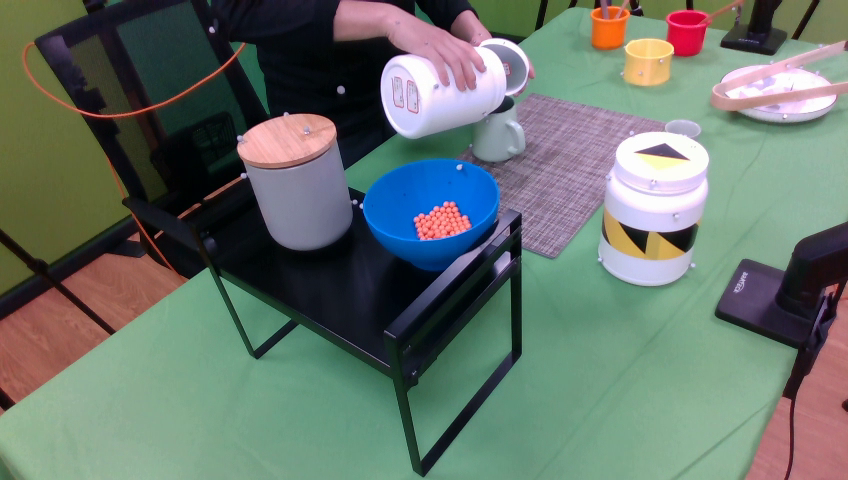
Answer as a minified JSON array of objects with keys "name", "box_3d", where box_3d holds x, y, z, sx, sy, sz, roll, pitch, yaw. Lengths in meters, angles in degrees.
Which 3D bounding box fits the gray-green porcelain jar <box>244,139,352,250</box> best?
[{"name":"gray-green porcelain jar","box_3d":[-0.144,-0.060,0.714,0.106,0.127,0.105,-4,41,4]}]

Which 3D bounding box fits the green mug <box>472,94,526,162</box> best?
[{"name":"green mug","box_3d":[0.144,-0.202,1.122,0.093,0.105,0.124,-29,45,-23]}]

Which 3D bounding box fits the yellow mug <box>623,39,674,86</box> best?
[{"name":"yellow mug","box_3d":[0.485,-0.398,1.334,0.100,0.064,0.130,-18,41,-10]}]

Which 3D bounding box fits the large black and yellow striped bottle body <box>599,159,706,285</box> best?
[{"name":"large black and yellow striped bottle body","box_3d":[0.320,-0.042,0.854,0.131,0.185,0.130,-4,41,4]}]

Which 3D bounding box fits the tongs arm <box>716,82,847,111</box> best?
[{"name":"tongs arm","box_3d":[0.738,-0.282,1.134,0.388,0.028,0.028,-9,46,-5]}]

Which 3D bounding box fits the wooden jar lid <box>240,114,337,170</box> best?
[{"name":"wooden jar lid","box_3d":[-0.149,-0.106,0.674,0.108,0.021,0.108,-6,39,5]}]

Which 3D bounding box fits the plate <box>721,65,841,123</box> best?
[{"name":"plate","box_3d":[0.695,-0.282,1.189,0.207,0.039,0.206,-4,40,4]}]

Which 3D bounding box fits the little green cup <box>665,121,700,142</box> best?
[{"name":"little green cup","box_3d":[0.472,-0.188,1.113,0.061,0.039,0.061,-5,40,4]}]

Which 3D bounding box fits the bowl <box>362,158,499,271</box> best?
[{"name":"bowl","box_3d":[0.011,-0.019,0.679,0.151,0.077,0.150,-5,41,5]}]

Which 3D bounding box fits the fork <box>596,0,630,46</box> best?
[{"name":"fork","box_3d":[0.481,-0.556,1.453,0.028,0.019,0.207,40,103,38]}]

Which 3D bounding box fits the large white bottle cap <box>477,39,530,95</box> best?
[{"name":"large white bottle cap","box_3d":[0.140,-0.321,1.129,0.114,0.115,0.018,9,53,19]}]

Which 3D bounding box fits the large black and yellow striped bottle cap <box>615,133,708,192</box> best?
[{"name":"large black and yellow striped bottle cap","box_3d":[0.312,-0.105,0.798,0.115,0.019,0.114,-5,41,5]}]

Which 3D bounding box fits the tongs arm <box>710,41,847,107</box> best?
[{"name":"tongs arm","box_3d":[0.712,-0.332,1.194,0.386,0.026,0.050,-18,45,-16]}]

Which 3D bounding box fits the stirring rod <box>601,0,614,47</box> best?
[{"name":"stirring rod","box_3d":[0.439,-0.551,1.463,0.014,0.006,0.175,-7,83,3]}]

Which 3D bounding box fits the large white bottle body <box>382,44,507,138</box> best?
[{"name":"large white bottle body","box_3d":[0.038,-0.253,1.011,0.186,0.131,0.129,-22,41,-32]}]

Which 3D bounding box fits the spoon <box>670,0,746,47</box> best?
[{"name":"spoon","box_3d":[0.629,-0.485,1.350,0.022,0.193,0.042,48,54,-7]}]
